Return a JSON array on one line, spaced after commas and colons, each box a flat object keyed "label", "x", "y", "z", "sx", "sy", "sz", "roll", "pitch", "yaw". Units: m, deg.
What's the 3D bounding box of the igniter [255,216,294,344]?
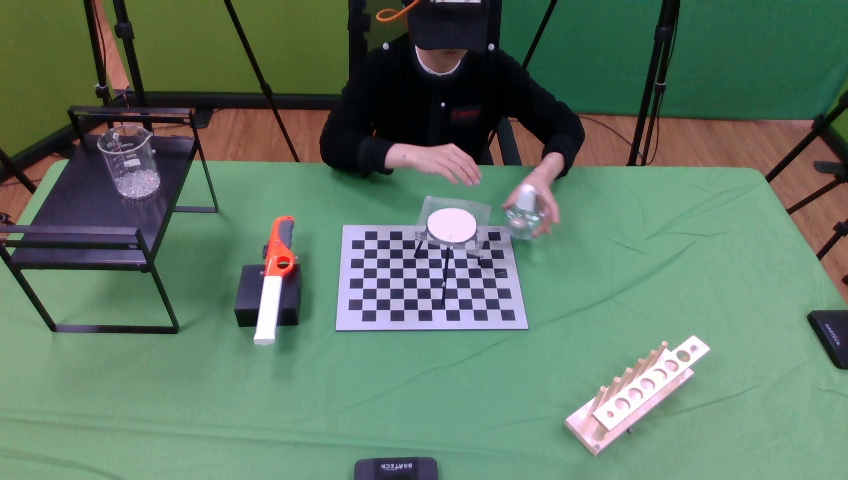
[{"label": "igniter", "x": -0.258, "y": 0.059, "z": 1.051, "sx": 0.057, "sy": 0.025, "sz": 0.274, "roll": 2, "pitch": 47, "yaw": -6}]

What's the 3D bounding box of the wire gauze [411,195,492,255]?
[{"label": "wire gauze", "x": 0.049, "y": -0.031, "z": 1.051, "sx": 0.125, "sy": 0.011, "sz": 0.121, "roll": 12, "pitch": 47, "yaw": 9}]

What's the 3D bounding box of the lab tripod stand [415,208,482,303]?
[{"label": "lab tripod stand", "x": 0.043, "y": 0.018, "z": 1.097, "sx": 0.148, "sy": 0.132, "sz": 0.147, "roll": 1, "pitch": 47, "yaw": 0}]

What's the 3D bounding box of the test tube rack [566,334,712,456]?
[{"label": "test tube rack", "x": 0.339, "y": 0.228, "z": 0.950, "sx": 0.242, "sy": 0.085, "sz": 0.066, "roll": -26, "pitch": 52, "yaw": -26}]

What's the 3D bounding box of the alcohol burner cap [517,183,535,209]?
[{"label": "alcohol burner cap", "x": 0.191, "y": -0.084, "z": 1.119, "sx": 0.034, "sy": 0.048, "sz": 0.033, "roll": 1, "pitch": 43, "yaw": -1}]

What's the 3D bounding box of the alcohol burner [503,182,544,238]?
[{"label": "alcohol burner", "x": 0.189, "y": -0.061, "z": 1.139, "sx": 0.078, "sy": 0.120, "sz": 0.077, "roll": 0, "pitch": 43, "yaw": 0}]

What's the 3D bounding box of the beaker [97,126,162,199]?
[{"label": "beaker", "x": -0.468, "y": -0.124, "z": 0.979, "sx": 0.084, "sy": 0.101, "sz": 0.073, "roll": -25, "pitch": 53, "yaw": -26}]
